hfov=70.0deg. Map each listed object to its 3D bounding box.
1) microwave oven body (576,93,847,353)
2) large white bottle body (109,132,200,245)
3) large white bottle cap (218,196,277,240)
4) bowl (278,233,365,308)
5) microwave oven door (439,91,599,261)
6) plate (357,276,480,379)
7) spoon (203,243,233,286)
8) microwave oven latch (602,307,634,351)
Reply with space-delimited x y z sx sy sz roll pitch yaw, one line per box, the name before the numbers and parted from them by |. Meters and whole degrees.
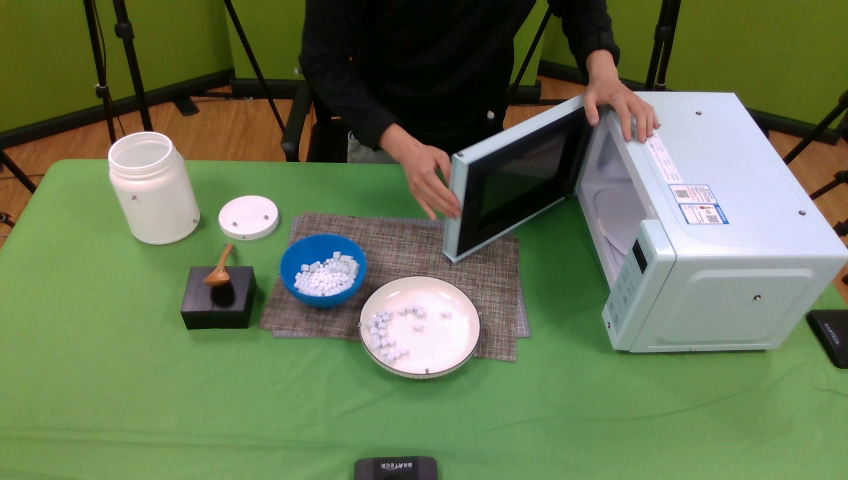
microwave oven body | 0.475 -0.041 1.109 0.326 0.261 0.438 -1 45 -4
large white bottle body | -0.506 -0.097 1.141 0.131 0.185 0.130 2 46 -2
large white bottle cap | -0.355 -0.045 1.220 0.115 0.018 0.114 2 45 -2
bowl | -0.179 0.068 1.076 0.151 0.077 0.150 3 46 -3
microwave oven door | 0.185 -0.125 1.162 0.356 0.245 0.039 -28 54 -28
plate | -0.010 0.151 1.038 0.209 0.038 0.208 2 47 -2
spoon | -0.360 0.039 1.087 0.041 0.022 0.192 -5 24 -7
microwave oven latch | 0.332 0.153 1.044 0.030 0.029 0.078 0 45 -4
